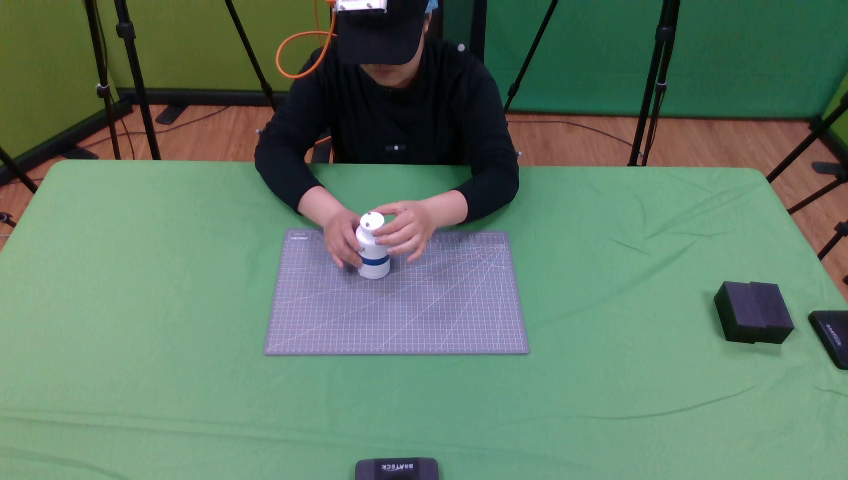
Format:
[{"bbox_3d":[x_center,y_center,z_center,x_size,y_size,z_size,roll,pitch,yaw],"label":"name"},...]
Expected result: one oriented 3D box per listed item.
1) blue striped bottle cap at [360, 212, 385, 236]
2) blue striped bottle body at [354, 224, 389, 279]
[{"bbox_3d":[-0.091,-0.028,1.067,0.044,0.021,0.044,-3,50,3],"label":"blue striped bottle cap"},{"bbox_3d":[-0.095,0.011,1.109,0.063,0.121,0.062,2,46,-1],"label":"blue striped bottle body"}]
